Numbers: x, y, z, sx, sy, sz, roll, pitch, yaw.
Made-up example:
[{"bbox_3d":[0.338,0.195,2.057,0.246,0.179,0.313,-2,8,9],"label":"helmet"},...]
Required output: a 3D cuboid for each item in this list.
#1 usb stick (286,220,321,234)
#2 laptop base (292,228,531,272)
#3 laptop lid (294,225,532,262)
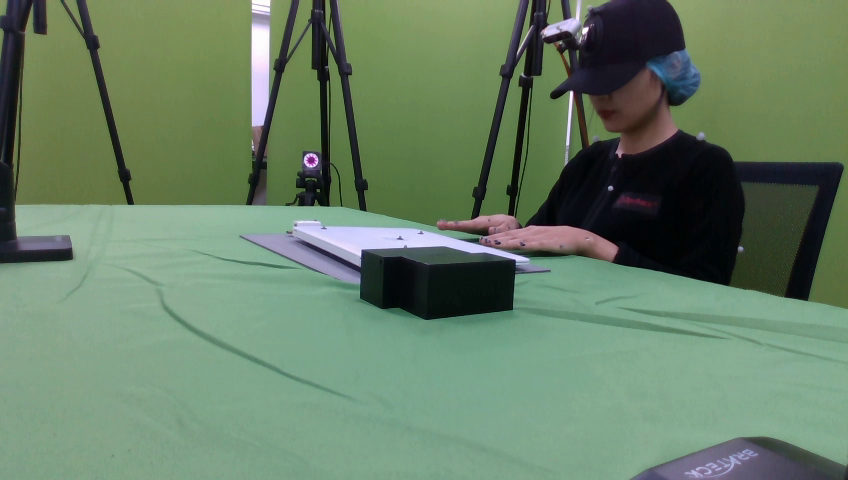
[{"bbox_3d":[-0.211,-0.021,1.055,0.059,0.027,0.021,-6,11,-33],"label":"usb stick"},{"bbox_3d":[-0.038,0.013,0.894,0.237,0.023,0.352,2,6,-28],"label":"laptop base"},{"bbox_3d":[-0.035,0.001,0.894,0.243,0.013,0.355,1,7,-26],"label":"laptop lid"}]
